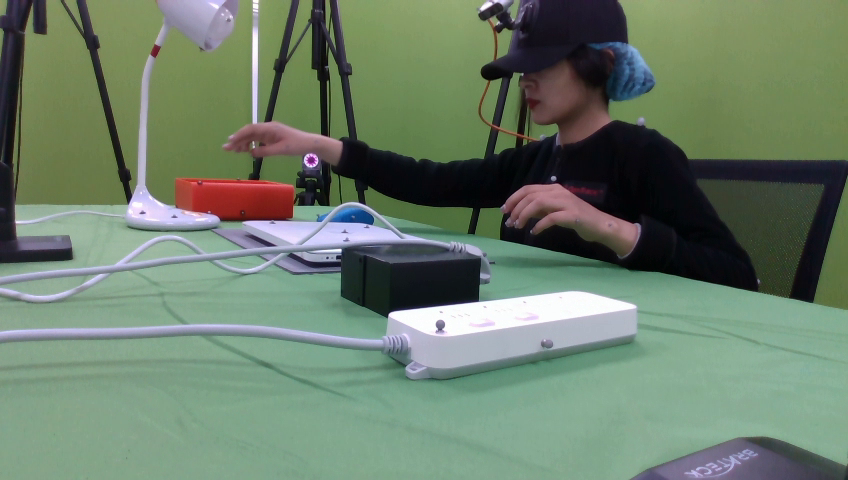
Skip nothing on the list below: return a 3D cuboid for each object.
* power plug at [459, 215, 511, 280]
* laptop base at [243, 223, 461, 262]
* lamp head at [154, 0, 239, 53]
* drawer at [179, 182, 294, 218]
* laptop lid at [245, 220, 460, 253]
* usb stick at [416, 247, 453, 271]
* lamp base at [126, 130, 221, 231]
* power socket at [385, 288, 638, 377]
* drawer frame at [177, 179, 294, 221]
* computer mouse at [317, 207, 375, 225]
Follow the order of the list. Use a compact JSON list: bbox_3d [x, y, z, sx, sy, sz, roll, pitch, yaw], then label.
[{"bbox_3d":[0.064,0.010,0.622,0.053,0.072,0.035,-8,40,-1],"label":"power plug"},{"bbox_3d":[-0.126,0.002,0.945,0.237,0.023,0.352,2,6,-31],"label":"laptop base"},{"bbox_3d":[-0.406,-0.402,1.059,0.123,0.112,0.112,25,5,-6],"label":"lamp head"},{"bbox_3d":[-0.420,-0.091,1.354,0.213,0.073,0.193,-3,10,-31],"label":"drawer"},{"bbox_3d":[-0.124,-0.009,0.945,0.243,0.013,0.355,1,7,-29],"label":"laptop lid"},{"bbox_3d":[0.009,0.024,0.755,0.027,0.021,0.059,37,-17,-17],"label":"usb stick"},{"bbox_3d":[-0.469,-0.112,1.108,0.179,0.180,0.160,0,7,3],"label":"lamp base"},{"bbox_3d":[0.074,0.064,0.462,0.228,0.032,0.072,-3,8,-34],"label":"power socket"},{"bbox_3d":[-0.422,-0.092,1.352,0.215,0.082,0.200,-3,10,-32],"label":"drawer frame"},{"bbox_3d":[-0.164,-0.047,1.264,0.118,0.041,0.062,-6,12,-29],"label":"computer mouse"}]
